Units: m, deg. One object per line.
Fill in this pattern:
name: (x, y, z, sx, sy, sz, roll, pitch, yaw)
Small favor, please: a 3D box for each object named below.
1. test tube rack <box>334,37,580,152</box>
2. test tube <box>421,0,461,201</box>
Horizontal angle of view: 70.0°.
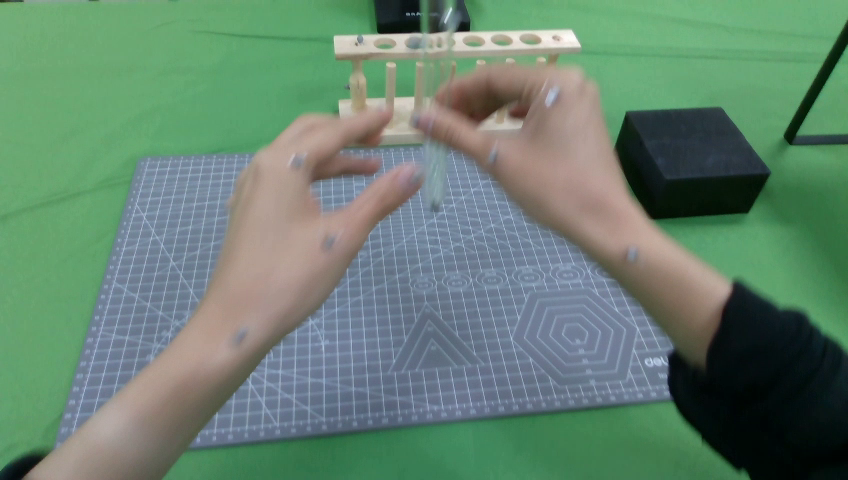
test tube rack: (0.034, -0.149, 0.617, 0.243, 0.086, 0.066, -4, 47, -7)
test tube: (0.008, -0.078, 0.332, 0.017, 0.151, 0.017, 1, 47, -1)
